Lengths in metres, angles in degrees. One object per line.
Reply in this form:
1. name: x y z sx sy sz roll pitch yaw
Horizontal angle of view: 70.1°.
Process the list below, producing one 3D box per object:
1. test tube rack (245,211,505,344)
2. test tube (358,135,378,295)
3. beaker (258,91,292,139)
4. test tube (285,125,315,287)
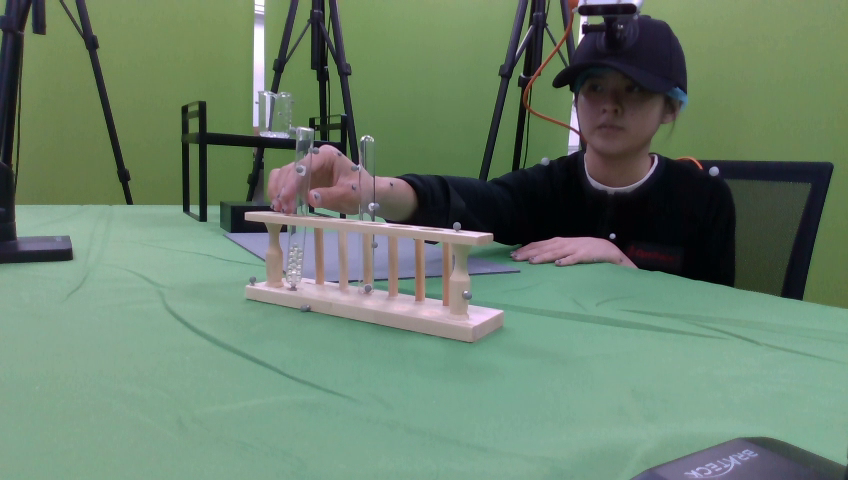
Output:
1. test tube rack: -0.049 0.025 0.547 0.241 0.085 0.067 7 8 28
2. test tube: -0.053 -0.022 0.565 0.017 0.150 0.017 2 6 0
3. beaker: -0.331 -0.276 1.343 0.074 0.100 0.083 0 8 -20
4. test tube: -0.115 -0.030 0.559 0.017 0.150 0.017 7 9 -1
